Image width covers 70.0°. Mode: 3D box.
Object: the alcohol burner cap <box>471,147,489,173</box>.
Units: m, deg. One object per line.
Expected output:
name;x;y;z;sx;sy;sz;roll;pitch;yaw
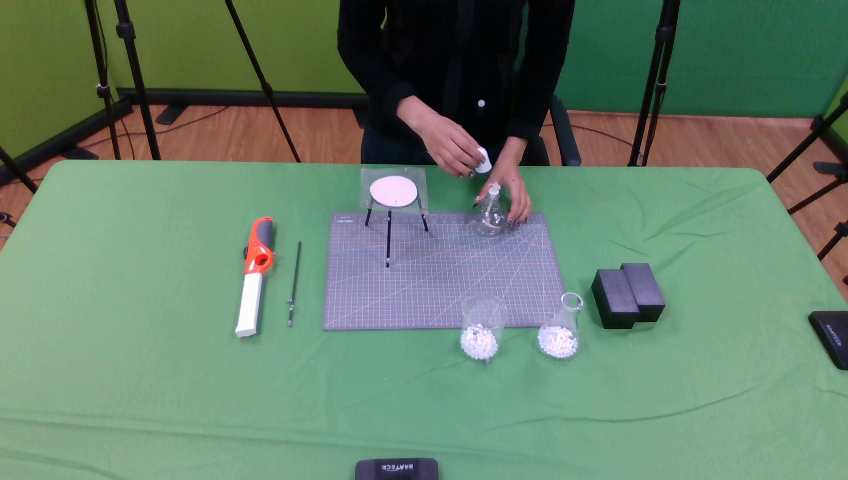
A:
alcohol burner cap;0.105;-0.156;1.160;0.034;0.048;0.033;-12;44;12

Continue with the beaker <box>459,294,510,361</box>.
beaker;0.095;0.147;1.012;0.083;0.101;0.074;26;49;21

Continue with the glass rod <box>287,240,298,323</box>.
glass rod;-0.242;0.072;1.119;0.008;0.008;0.198;-1;47;-5

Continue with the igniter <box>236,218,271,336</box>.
igniter;-0.312;0.058;1.115;0.057;0.025;0.274;-9;46;2

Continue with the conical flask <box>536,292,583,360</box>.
conical flask;0.234;0.139;1.015;0.075;0.122;0.075;2;46;-2

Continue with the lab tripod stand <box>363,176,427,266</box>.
lab tripod stand;-0.058;-0.047;1.159;0.148;0.132;0.147;3;44;-2

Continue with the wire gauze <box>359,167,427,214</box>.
wire gauze;-0.058;-0.093;1.110;0.125;0.011;0.120;2;45;-5

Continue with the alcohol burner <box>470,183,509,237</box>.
alcohol burner;0.132;-0.065;1.206;0.078;0.120;0.077;2;44;-2
